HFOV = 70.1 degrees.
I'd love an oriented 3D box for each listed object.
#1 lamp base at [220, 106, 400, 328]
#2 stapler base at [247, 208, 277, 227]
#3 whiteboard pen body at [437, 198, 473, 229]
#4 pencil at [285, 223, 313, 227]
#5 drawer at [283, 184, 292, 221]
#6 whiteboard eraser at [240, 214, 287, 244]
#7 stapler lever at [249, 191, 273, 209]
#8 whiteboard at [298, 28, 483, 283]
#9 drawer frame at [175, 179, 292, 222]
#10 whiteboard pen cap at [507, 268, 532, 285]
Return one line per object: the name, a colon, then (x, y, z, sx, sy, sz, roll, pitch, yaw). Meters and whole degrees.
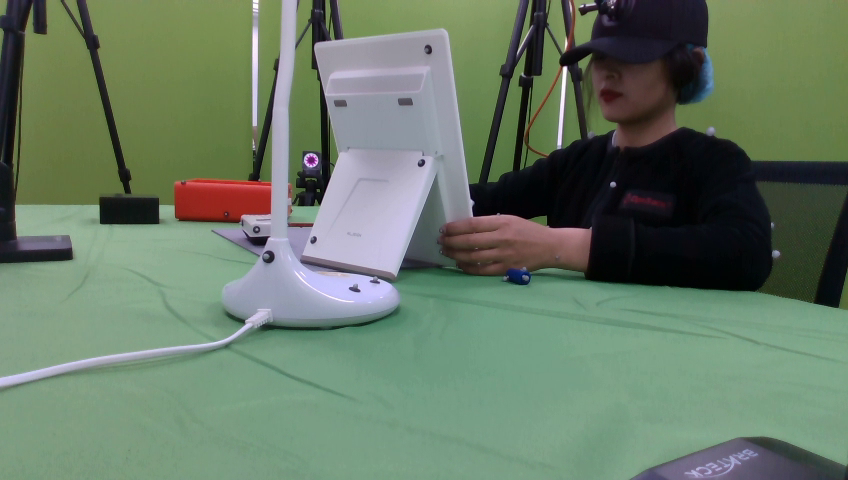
lamp base: (-0.102, -0.023, 0.531, 0.160, 0.180, 0.179, 4, 10, 10)
stapler base: (-0.350, -0.054, 1.310, 0.041, 0.024, 0.130, 0, 13, -3)
whiteboard pen body: (0.044, -0.037, 0.856, 0.017, 0.017, 0.141, 5, 19, 20)
pencil: (-0.234, -0.030, 1.198, 0.195, 0.012, 0.012, 0, 8, -20)
drawer: (-0.397, -0.086, 1.314, 0.212, 0.073, 0.194, 1, 8, -9)
whiteboard eraser: (-0.256, -0.017, 0.958, 0.056, 0.042, 0.112, 0, 8, -25)
stapler lever: (-0.351, -0.086, 1.305, 0.027, 0.040, 0.118, 0, 5, -3)
whiteboard: (-0.075, -0.082, 0.741, 0.216, 0.305, 0.144, 9, 29, 38)
drawer frame: (-0.402, -0.087, 1.311, 0.214, 0.082, 0.201, 1, 8, -9)
whiteboard pen cap: (0.113, 0.043, 0.726, 0.018, 0.018, 0.033, -2, 9, -28)
